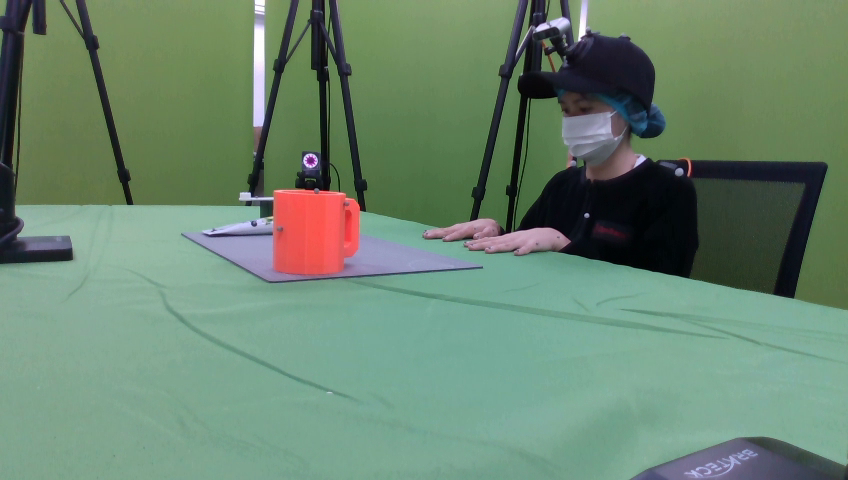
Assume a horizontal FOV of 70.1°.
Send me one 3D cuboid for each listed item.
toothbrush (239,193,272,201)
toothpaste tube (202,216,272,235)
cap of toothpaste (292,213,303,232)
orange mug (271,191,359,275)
[{"bbox_3d":[-0.286,-0.087,1.236,0.183,0.016,0.014,-1,3,-30],"label":"toothbrush"},{"bbox_3d":[-0.296,-0.023,1.053,0.166,0.034,0.055,-7,5,-34],"label":"toothpaste tube"},{"bbox_3d":[-0.229,-0.032,1.094,0.011,0.037,0.037,-7,12,-34],"label":"cap of toothpaste"},{"bbox_3d":[-0.131,-0.013,0.754,0.083,0.101,0.127,8,13,38],"label":"orange mug"}]
